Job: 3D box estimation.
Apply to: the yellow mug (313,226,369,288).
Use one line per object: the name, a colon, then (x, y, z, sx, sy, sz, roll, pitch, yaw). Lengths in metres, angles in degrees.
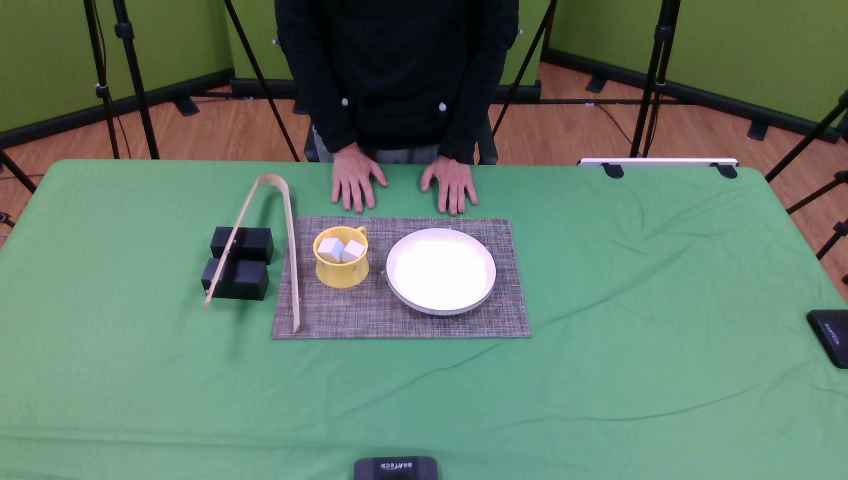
yellow mug: (-0.146, 0.021, 1.132, 0.099, 0.064, 0.130, 24, 49, 19)

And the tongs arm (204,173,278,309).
tongs arm: (-0.331, -0.012, 1.122, 0.051, 0.026, 0.382, 21, 37, -18)

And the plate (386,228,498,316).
plate: (0.032, 0.062, 1.126, 0.208, 0.039, 0.206, 2, 46, -2)

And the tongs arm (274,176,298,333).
tongs arm: (-0.260, 0.014, 1.154, 0.028, 0.028, 0.385, 9, 43, -26)
